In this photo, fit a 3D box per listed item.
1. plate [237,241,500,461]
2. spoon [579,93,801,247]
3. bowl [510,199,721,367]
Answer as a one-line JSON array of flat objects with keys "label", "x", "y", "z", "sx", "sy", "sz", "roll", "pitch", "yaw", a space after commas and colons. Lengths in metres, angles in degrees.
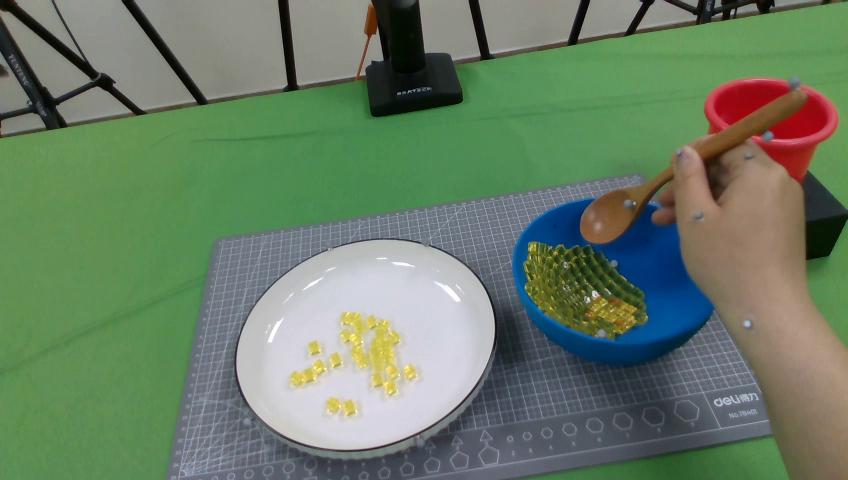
[{"label": "plate", "x": -0.043, "y": 0.085, "z": 0.491, "sx": 0.207, "sy": 0.039, "sz": 0.205, "roll": -4, "pitch": 44, "yaw": 4}, {"label": "spoon", "x": 0.165, "y": -0.041, "z": 0.407, "sx": 0.022, "sy": 0.194, "sz": 0.041, "roll": 10, "pitch": 66, "yaw": -15}, {"label": "bowl", "x": 0.143, "y": 0.045, "z": 0.474, "sx": 0.151, "sy": 0.077, "sz": 0.150, "roll": -4, "pitch": 44, "yaw": 4}]
